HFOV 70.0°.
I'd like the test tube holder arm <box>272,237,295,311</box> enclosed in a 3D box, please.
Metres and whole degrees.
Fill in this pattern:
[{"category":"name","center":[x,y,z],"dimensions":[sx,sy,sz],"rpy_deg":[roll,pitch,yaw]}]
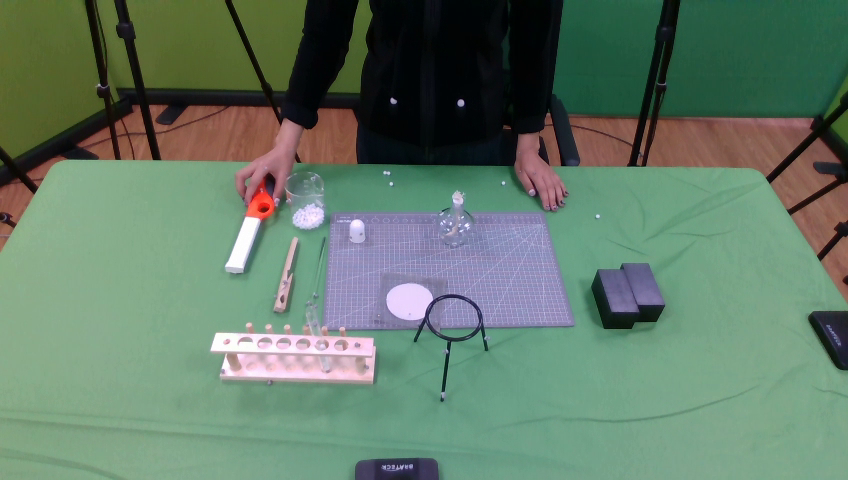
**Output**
[{"category":"test tube holder arm","center":[-0.258,0.059,1.123],"dimensions":[0.013,0.015,0.177],"rpy_deg":[27,39,-25]}]

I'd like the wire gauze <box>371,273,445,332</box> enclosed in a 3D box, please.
[{"category":"wire gauze","center":[-0.028,0.108,1.100],"dimensions":[0.125,0.011,0.121],"rpy_deg":[7,45,4]}]

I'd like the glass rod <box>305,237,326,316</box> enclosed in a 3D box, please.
[{"category":"glass rod","center":[-0.202,0.063,1.131],"dimensions":[0.008,0.008,0.198],"rpy_deg":[4,44,0]}]

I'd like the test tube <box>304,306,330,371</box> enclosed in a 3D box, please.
[{"category":"test tube","center":[-0.162,0.153,0.925],"dimensions":[0.017,0.151,0.017],"rpy_deg":[-2,44,2]}]

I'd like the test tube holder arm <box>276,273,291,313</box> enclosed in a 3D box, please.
[{"category":"test tube holder arm","center":[-0.253,0.093,1.094],"dimensions":[0.010,0.015,0.087],"rpy_deg":[27,39,-25]}]

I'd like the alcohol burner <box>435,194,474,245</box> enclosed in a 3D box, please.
[{"category":"alcohol burner","center":[0.061,-0.046,1.183],"dimensions":[0.078,0.119,0.077],"rpy_deg":[3,47,-3]}]

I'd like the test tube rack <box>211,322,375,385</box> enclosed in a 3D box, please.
[{"category":"test tube rack","center":[-0.203,0.176,0.969],"dimensions":[0.242,0.085,0.066],"rpy_deg":[3,46,-2]}]

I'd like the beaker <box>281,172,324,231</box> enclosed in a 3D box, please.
[{"category":"beaker","center":[-0.234,-0.073,1.199],"dimensions":[0.084,0.101,0.074],"rpy_deg":[24,50,17]}]

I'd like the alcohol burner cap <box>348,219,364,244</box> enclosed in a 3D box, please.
[{"category":"alcohol burner cap","center":[-0.134,-0.019,1.190],"dimensions":[0.034,0.048,0.033],"rpy_deg":[2,46,-2]}]

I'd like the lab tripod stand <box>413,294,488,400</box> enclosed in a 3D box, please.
[{"category":"lab tripod stand","center":[0.044,0.159,0.972],"dimensions":[0.148,0.132,0.147],"rpy_deg":[2,44,-2]}]

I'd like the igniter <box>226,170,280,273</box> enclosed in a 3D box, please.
[{"category":"igniter","center":[-0.337,-0.046,1.205],"dimensions":[0.057,0.025,0.275],"rpy_deg":[8,47,-1]}]
